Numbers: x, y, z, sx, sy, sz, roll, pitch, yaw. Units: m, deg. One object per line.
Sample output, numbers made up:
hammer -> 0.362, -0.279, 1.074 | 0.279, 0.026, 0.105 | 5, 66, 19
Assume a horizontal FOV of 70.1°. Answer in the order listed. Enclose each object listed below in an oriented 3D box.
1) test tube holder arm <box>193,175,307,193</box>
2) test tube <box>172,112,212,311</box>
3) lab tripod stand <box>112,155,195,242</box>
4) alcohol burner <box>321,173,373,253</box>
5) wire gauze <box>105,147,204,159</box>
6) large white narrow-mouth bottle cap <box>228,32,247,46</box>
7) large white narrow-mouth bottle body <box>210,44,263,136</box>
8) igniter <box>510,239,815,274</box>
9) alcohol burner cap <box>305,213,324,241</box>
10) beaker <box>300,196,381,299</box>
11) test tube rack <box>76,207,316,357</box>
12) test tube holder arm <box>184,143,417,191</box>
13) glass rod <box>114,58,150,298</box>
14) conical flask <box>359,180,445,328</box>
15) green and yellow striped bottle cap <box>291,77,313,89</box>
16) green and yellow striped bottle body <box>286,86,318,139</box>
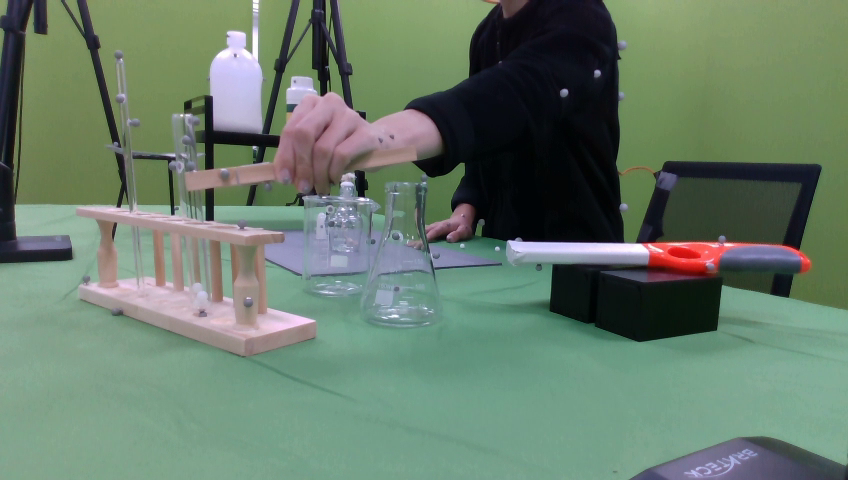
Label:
test tube holder arm -> -0.134, -0.049, 0.465 | 0.088, 0.015, 0.010 | -9, 4, 1
test tube -> -0.175, -0.020, 0.456 | 0.017, 0.150, 0.017 | -3, 7, 1
lab tripod stand -> -0.405, -0.064, 0.931 | 0.148, 0.131, 0.148 | 1, 6, 0
alcohol burner -> -0.115, -0.041, 0.905 | 0.078, 0.119, 0.078 | 0, 6, 0
wire gauze -> -0.408, -0.131, 0.928 | 0.125, 0.011, 0.121 | 2, 6, -11
large white narrow-mouth bottle cap -> -0.364, -0.390, 1.180 | 0.038, 0.024, 0.037 | 4, 8, 0
large white narrow-mouth bottle body -> -0.369, -0.305, 1.193 | 0.102, 0.194, 0.102 | 3, 8, 0
igniter -> 0.220, 0.015, 0.565 | 0.277, 0.025, 0.057 | 2, 17, -1
alcohol burner cap -> -0.185, -0.023, 1.027 | 0.034, 0.048, 0.034 | 3, 6, 0
beaker -> -0.087, 0.006, 0.626 | 0.084, 0.100, 0.074 | 1, 8, -17
test tube rack -> -0.196, 0.023, 0.499 | 0.241, 0.085, 0.067 | 8, 9, 36
test tube holder arm -> -0.090, -0.057, 0.468 | 0.179, 0.015, 0.013 | -10, 5, -17
glass rod -> -0.237, -0.044, 0.492 | 0.008, 0.199, 0.008 | 1, 15, 0
conical flask -> -0.017, 0.010, 0.522 | 0.075, 0.122, 0.075 | 2, 7, 0
green and yellow striped bottle cap -> -0.250, -0.321, 1.237 | 0.045, 0.020, 0.045 | 3, 5, 0
green and yellow striped bottle body -> -0.251, -0.270, 1.245 | 0.063, 0.119, 0.063 | 2, 7, 0
